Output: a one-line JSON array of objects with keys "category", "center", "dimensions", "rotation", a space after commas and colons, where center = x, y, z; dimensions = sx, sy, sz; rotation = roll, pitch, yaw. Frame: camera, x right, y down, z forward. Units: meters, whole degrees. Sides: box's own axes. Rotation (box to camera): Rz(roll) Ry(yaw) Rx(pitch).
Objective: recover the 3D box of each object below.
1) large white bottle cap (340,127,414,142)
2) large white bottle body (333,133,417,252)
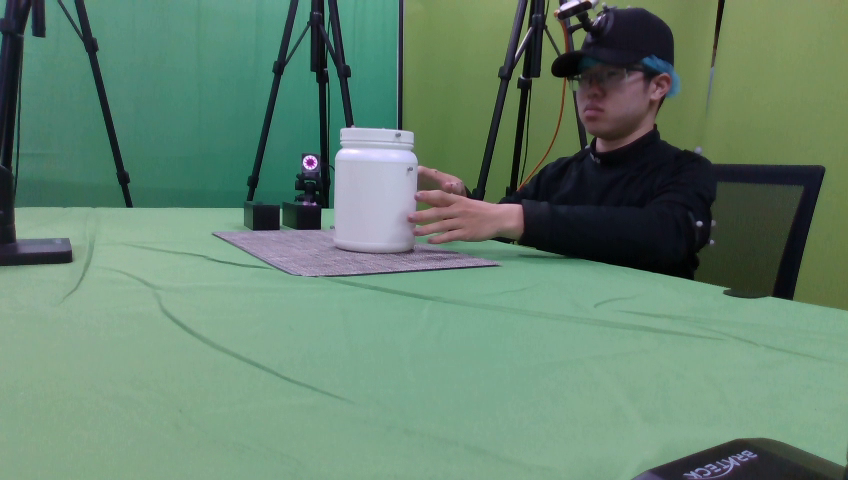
[{"category": "large white bottle cap", "center": [-0.072, -0.163, 0.940], "dimensions": [0.115, 0.018, 0.115], "rotation": [2, 7, 0]}, {"category": "large white bottle body", "center": [-0.076, -0.080, 0.950], "dimensions": [0.131, 0.184, 0.130], "rotation": [2, 8, 0]}]
